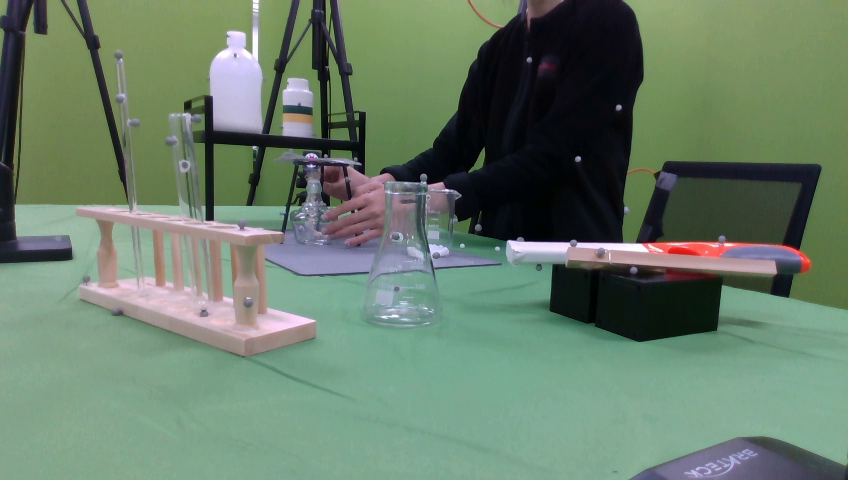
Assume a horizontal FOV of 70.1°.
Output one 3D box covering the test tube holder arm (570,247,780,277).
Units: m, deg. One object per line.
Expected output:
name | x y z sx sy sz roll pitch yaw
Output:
test tube holder arm | 0.217 0.019 0.525 0.178 0.015 0.013 3 -23 3

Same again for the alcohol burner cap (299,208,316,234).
alcohol burner cap | -0.213 -0.035 1.110 0.034 0.048 0.034 3 7 0

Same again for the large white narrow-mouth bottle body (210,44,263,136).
large white narrow-mouth bottle body | -0.369 -0.306 1.194 0.102 0.194 0.102 3 8 0

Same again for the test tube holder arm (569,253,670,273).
test tube holder arm | 0.172 0.019 0.532 0.088 0.015 0.010 3 -23 3

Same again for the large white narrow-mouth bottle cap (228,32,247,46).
large white narrow-mouth bottle cap | -0.364 -0.391 1.180 0.038 0.024 0.037 3 8 0

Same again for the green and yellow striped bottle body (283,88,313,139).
green and yellow striped bottle body | -0.266 -0.275 1.275 0.063 0.119 0.063 3 7 0

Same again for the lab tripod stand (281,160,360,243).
lab tripod stand | -0.170 -0.063 0.983 0.148 0.131 0.148 1 7 0

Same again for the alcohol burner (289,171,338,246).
alcohol burner | -0.177 -0.051 0.968 0.078 0.119 0.078 1 6 0

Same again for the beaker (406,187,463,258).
beaker | 0.013 -0.026 0.893 0.084 0.100 0.074 3 8 -2

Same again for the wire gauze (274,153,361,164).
wire gauze | -0.175 -0.130 0.978 0.125 0.011 0.121 1 6 -19

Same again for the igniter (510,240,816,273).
igniter | 0.220 0.015 0.565 0.277 0.025 0.057 2 16 0

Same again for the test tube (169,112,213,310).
test tube | -0.175 -0.020 0.455 0.017 0.150 0.017 -3 9 1

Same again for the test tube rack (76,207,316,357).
test tube rack | -0.196 0.023 0.500 0.241 0.085 0.067 8 9 36

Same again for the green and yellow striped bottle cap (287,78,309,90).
green and yellow striped bottle cap | -0.265 -0.326 1.268 0.045 0.020 0.045 4 6 0

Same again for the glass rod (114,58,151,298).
glass rod | -0.236 -0.044 0.492 0.008 0.199 0.008 0 15 0

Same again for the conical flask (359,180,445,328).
conical flask | -0.017 0.010 0.522 0.075 0.122 0.075 2 7 0
